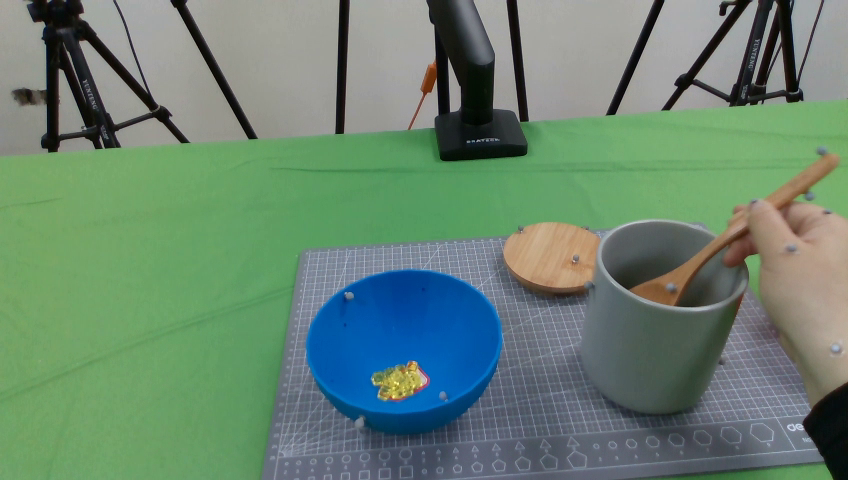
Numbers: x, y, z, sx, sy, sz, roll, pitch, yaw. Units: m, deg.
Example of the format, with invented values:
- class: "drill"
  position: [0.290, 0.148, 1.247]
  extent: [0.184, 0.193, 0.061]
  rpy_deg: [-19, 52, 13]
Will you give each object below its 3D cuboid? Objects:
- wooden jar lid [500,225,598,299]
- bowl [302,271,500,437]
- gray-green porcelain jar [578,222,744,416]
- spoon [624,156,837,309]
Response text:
- class: "wooden jar lid"
  position: [0.133, 0.023, 0.625]
  extent: [0.108, 0.021, 0.107]
  rpy_deg: [-2, 37, 2]
- class: "bowl"
  position: [-0.016, 0.102, 0.483]
  extent: [0.151, 0.077, 0.150]
  rpy_deg: [-1, 38, 2]
- class: "gray-green porcelain jar"
  position: [0.179, 0.066, 0.478]
  extent: [0.106, 0.127, 0.105]
  rpy_deg: [-2, 38, 2]
- class: "spoon"
  position: [0.206, 0.009, 0.431]
  extent: [0.022, 0.194, 0.041]
  rpy_deg: [30, 26, -34]
